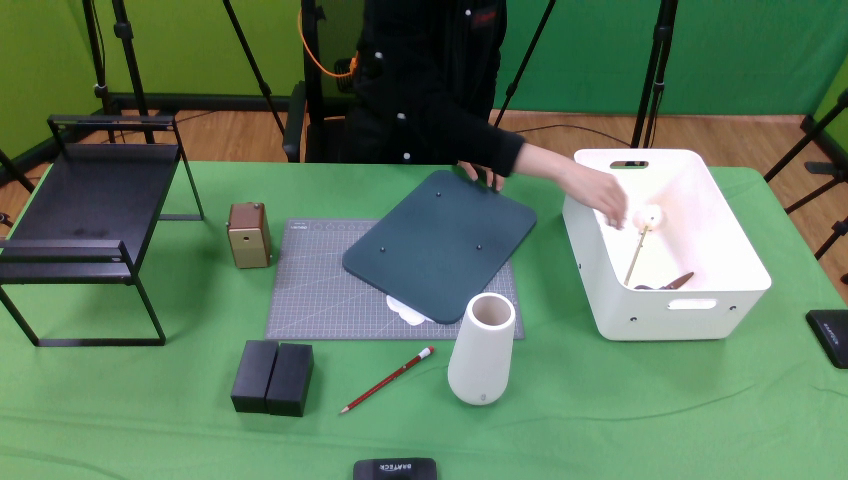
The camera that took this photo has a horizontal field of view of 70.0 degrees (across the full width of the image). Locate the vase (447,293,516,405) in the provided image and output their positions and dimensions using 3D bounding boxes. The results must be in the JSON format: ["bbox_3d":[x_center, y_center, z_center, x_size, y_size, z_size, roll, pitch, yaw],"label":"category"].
[{"bbox_3d":[0.091,0.169,0.921,0.098,0.201,0.097,3,47,-3],"label":"vase"}]

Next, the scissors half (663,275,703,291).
[{"bbox_3d":[0.460,0.092,1.131,0.175,0.040,0.013,-18,89,-27],"label":"scissors half"}]

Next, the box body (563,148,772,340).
[{"bbox_3d":[0.421,0.003,1.130,0.254,0.161,0.361,0,46,-5],"label":"box body"}]

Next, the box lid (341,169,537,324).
[{"bbox_3d":[0.038,-0.004,1.210,0.262,0.015,0.371,27,49,21],"label":"box lid"}]

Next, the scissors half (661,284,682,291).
[{"bbox_3d":[0.453,0.094,1.144,0.175,0.040,0.013,-17,94,-31],"label":"scissors half"}]

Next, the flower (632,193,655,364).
[{"bbox_3d":[0.423,0.068,1.187,0.038,0.044,0.360,21,65,-18],"label":"flower"}]

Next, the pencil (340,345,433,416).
[{"bbox_3d":[-0.058,0.227,0.984,0.194,0.012,0.012,-32,56,-28],"label":"pencil"}]

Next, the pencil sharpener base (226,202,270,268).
[{"bbox_3d":[-0.323,-0.010,1.123,0.061,0.107,0.076,-3,46,-7],"label":"pencil sharpener base"}]

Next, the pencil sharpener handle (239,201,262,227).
[{"bbox_3d":[-0.325,-0.055,1.150,0.036,0.068,0.030,-13,46,4],"label":"pencil sharpener handle"}]
